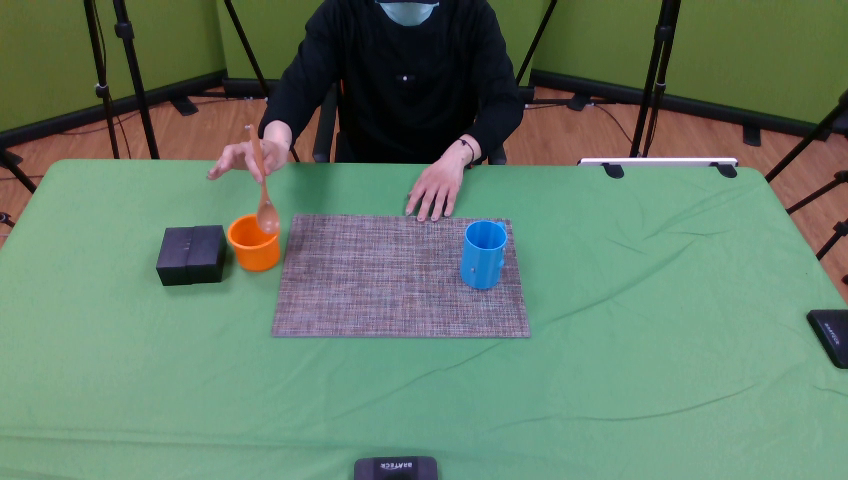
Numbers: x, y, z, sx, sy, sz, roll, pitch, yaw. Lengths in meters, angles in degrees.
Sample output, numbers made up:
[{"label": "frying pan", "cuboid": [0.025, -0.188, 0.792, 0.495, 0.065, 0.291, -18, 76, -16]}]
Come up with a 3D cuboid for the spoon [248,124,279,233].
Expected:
[{"label": "spoon", "cuboid": [-0.281, -0.104, 1.050, 0.042, 0.194, 0.021, -17, 27, -32]}]

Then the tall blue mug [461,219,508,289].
[{"label": "tall blue mug", "cuboid": [0.111, 0.016, 1.122, 0.078, 0.108, 0.106, 6, 46, 4]}]
